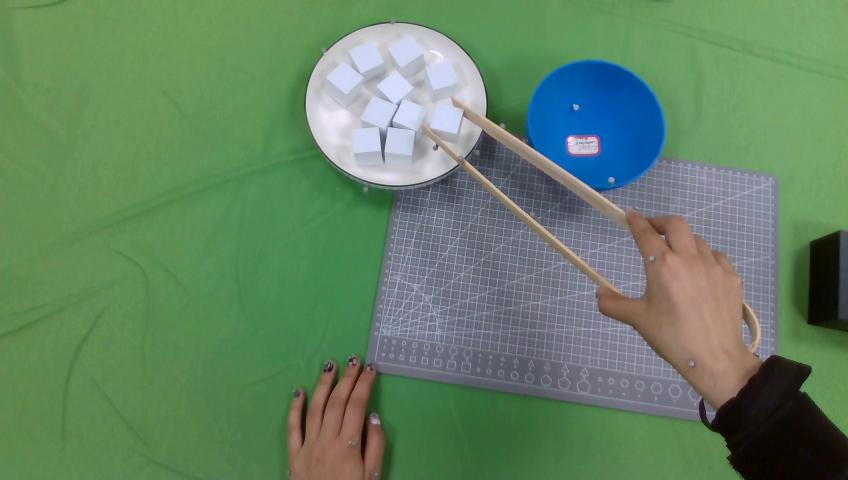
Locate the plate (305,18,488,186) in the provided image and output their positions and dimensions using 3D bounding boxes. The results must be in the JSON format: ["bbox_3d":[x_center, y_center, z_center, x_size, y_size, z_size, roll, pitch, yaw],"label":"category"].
[{"bbox_3d":[-0.031,-0.157,0.701,0.208,0.039,0.206,1,75,-2],"label":"plate"}]

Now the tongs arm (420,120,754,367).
[{"bbox_3d":[0.129,-0.018,0.569,0.051,0.027,0.381,-40,60,-4],"label":"tongs arm"}]

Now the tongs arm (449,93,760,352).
[{"bbox_3d":[0.149,-0.037,0.572,0.028,0.028,0.383,-41,60,-9],"label":"tongs arm"}]

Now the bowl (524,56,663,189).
[{"bbox_3d":[0.180,-0.120,0.683,0.151,0.077,0.150,1,75,-3],"label":"bowl"}]
